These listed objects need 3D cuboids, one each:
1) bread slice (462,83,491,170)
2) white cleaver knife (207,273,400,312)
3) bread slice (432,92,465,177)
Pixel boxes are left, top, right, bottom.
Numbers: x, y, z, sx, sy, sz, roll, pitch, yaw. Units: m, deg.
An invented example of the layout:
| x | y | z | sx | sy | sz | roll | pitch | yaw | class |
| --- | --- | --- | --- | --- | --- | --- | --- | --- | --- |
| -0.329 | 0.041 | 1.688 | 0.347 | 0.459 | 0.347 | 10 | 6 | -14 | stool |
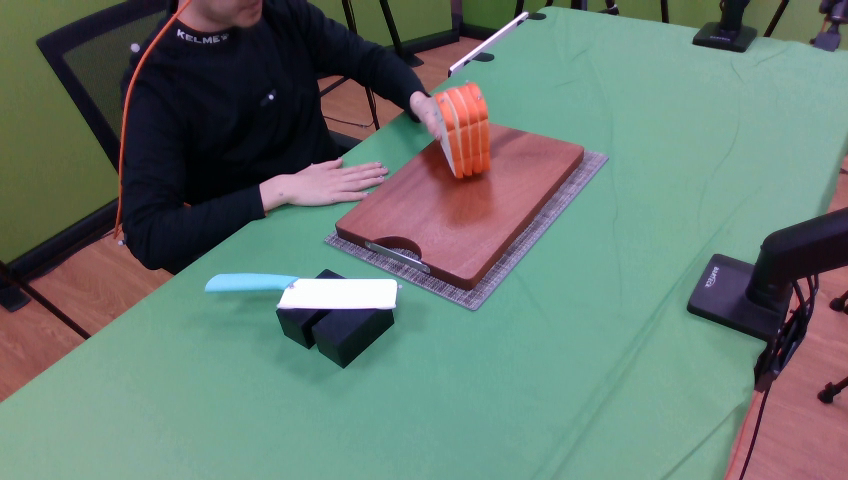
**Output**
| x | y | z | sx | sy | sz | roll | pitch | yaw | class |
| --- | --- | --- | --- | --- | --- | --- | --- | --- | --- |
| 0.089 | -0.197 | 1.030 | 0.018 | 0.135 | 0.106 | -15 | 50 | -7 | bread slice |
| -0.173 | 0.071 | 0.846 | 0.286 | 0.021 | 0.065 | 0 | 41 | 11 | white cleaver knife |
| 0.040 | -0.184 | 1.027 | 0.019 | 0.132 | 0.104 | -19 | 46 | -2 | bread slice |
